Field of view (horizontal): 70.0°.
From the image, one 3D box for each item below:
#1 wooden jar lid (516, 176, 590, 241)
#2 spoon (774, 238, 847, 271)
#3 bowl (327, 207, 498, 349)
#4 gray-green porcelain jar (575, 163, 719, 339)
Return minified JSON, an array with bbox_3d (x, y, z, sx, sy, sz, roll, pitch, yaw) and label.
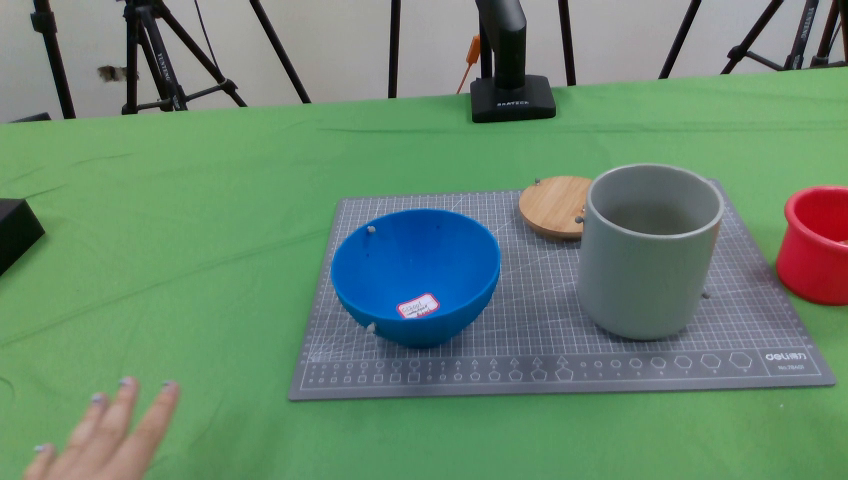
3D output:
[{"bbox_3d":[0.157,-0.035,0.675,0.108,0.021,0.107,-4,38,3],"label":"wooden jar lid"},{"bbox_3d":[0.398,-0.007,0.514,0.022,0.193,0.041,52,52,-5],"label":"spoon"},{"bbox_3d":[-0.007,0.045,0.551,0.151,0.077,0.150,-4,39,3],"label":"bowl"},{"bbox_3d":[0.186,0.014,0.525,0.106,0.128,0.105,-4,39,3],"label":"gray-green porcelain jar"}]
